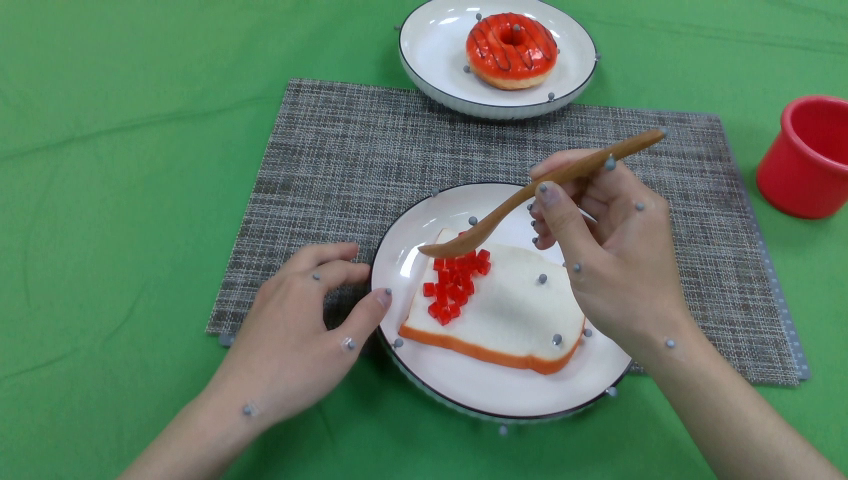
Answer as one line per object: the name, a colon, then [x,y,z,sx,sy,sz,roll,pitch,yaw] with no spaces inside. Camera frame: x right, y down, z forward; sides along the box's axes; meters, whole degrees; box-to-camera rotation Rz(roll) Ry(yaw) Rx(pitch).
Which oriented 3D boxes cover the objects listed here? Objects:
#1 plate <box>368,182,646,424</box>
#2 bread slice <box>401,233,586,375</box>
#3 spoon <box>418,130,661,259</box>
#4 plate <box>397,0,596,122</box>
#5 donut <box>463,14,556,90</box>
plate: [0.061,0.043,0.467,0.209,0.038,0.207,2,53,-2]
bread slice: [0.059,0.047,0.468,0.131,0.019,0.104,13,54,9]
spoon: [0.064,-0.024,0.391,0.042,0.193,0.021,-6,70,-44]
plate: [0.074,-0.191,0.644,0.208,0.039,0.205,2,51,-3]
donut: [0.089,-0.196,0.635,0.099,0.048,0.098,3,54,-3]
